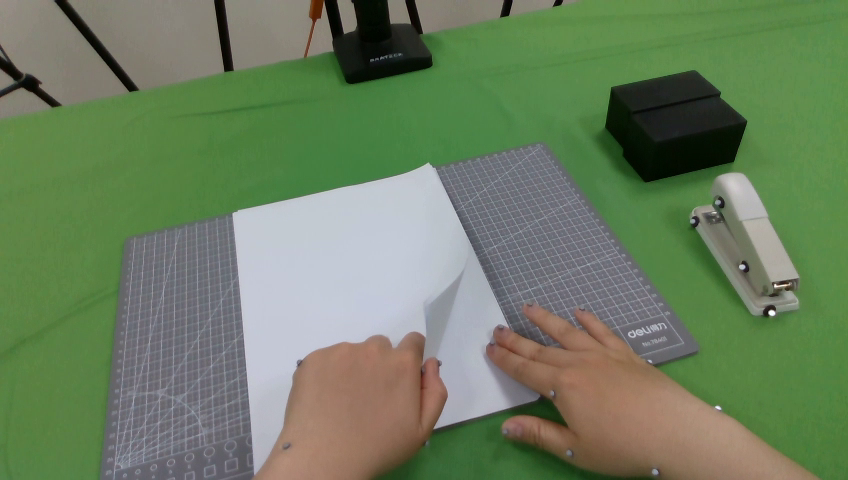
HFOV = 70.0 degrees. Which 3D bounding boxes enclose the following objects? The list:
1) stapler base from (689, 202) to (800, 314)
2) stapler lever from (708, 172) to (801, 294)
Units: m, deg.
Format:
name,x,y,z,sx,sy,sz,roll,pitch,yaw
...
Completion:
name,x,y,z,sx,sy,sz,roll,pitch,yaw
stapler base,0.277,0.006,0.527,0.041,0.025,0.129,-10,47,-1
stapler lever,0.275,-0.010,0.508,0.027,0.040,0.117,-10,47,-1
